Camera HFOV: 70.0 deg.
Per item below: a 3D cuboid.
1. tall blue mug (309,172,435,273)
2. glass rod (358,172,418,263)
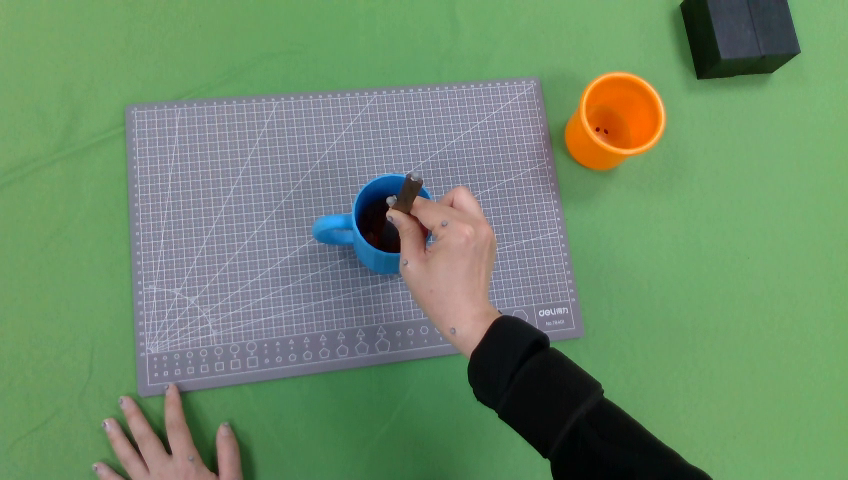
[{"bbox_3d":[-0.047,-0.007,0.584,0.107,0.108,0.077,-30,84,-12],"label":"tall blue mug"},{"bbox_3d":[-0.035,-0.013,0.518,0.008,0.200,0.008,6,69,-16],"label":"glass rod"}]
